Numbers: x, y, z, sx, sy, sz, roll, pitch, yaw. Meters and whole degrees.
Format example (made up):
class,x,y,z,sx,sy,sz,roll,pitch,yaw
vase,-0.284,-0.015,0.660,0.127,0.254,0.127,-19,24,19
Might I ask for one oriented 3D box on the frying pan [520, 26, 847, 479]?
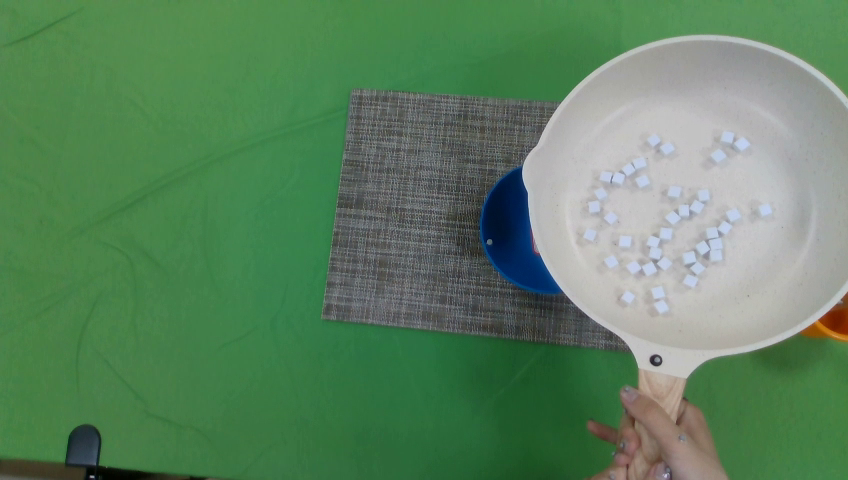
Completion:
class,x,y,z,sx,sy,sz,roll,pitch,yaw
frying pan,0.219,0.049,0.543,0.305,0.103,0.486,11,76,18

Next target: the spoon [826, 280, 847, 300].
class,x,y,z,sx,sy,sz,roll,pitch,yaw
spoon,0.476,0.054,0.629,0.022,0.192,0.041,21,79,-38

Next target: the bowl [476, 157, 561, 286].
class,x,y,z,sx,sy,sz,roll,pitch,yaw
bowl,0.136,-0.017,0.696,0.151,0.077,0.151,-1,80,4
